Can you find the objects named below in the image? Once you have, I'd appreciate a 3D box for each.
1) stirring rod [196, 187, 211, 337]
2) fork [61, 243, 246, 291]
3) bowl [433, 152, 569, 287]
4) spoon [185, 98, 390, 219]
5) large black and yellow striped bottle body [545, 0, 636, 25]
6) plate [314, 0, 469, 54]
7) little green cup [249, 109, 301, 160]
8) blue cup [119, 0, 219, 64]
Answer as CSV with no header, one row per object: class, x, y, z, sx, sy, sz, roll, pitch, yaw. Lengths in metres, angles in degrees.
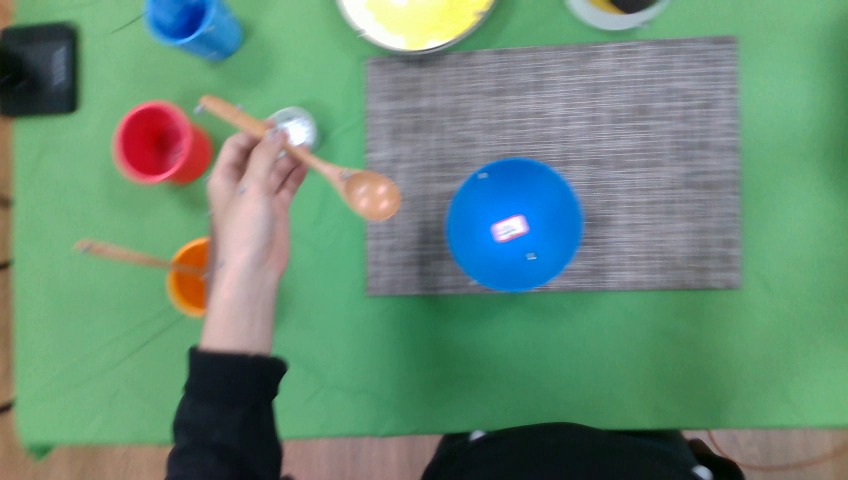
stirring rod,-0.259,0.026,0.710,0.014,0.006,0.176,-2,89,8
fork,-0.312,0.032,0.718,0.209,0.018,0.028,16,93,-37
bowl,0.089,-0.021,0.709,0.151,0.077,0.151,0,90,6
spoon,-0.118,-0.075,0.537,0.195,0.021,0.041,28,96,-18
large black and yellow striped bottle body,0.194,-0.328,0.653,0.130,0.184,0.130,0,89,6
plate,-0.038,-0.331,0.750,0.209,0.038,0.209,0,90,6
little green cup,-0.185,-0.130,0.762,0.061,0.039,0.061,0,90,7
blue cup,-0.303,-0.261,0.744,0.092,0.100,0.092,0,89,8
